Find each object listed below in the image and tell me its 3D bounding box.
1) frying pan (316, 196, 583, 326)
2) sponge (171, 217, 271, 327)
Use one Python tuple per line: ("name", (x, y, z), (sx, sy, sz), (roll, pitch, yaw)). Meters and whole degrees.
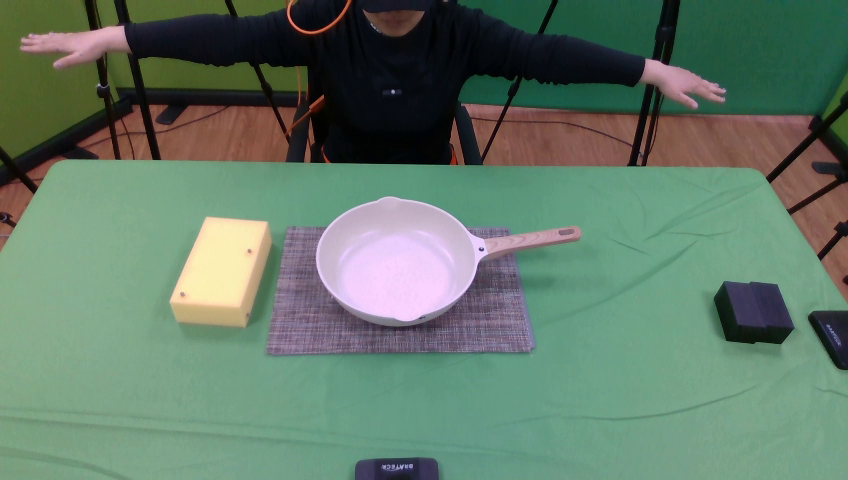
("frying pan", (0.054, 0.027, 1.114), (0.488, 0.103, 0.304), (-9, 48, -1))
("sponge", (-0.360, 0.053, 1.094), (0.118, 0.061, 0.205), (3, 46, -1))
